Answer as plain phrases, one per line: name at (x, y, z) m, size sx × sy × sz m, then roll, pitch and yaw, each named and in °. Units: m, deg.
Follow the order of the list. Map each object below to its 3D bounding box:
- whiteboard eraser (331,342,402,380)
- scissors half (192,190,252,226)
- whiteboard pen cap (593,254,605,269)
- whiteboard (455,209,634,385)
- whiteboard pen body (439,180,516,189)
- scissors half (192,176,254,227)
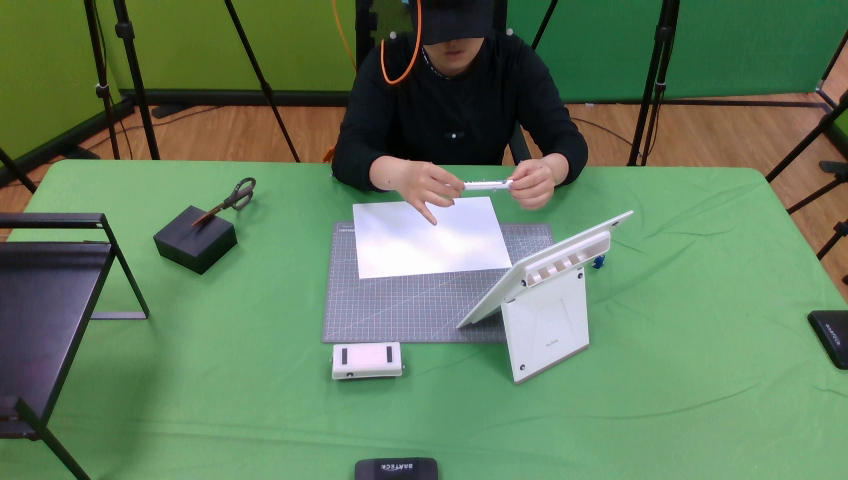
whiteboard eraser at (-0.094, 0.198, 0.986) m, size 0.113 × 0.042 × 0.055 m, roll -2°, pitch 44°, yaw -6°
scissors half at (-0.393, -0.060, 1.187) m, size 0.013 × 0.040 × 0.175 m, roll 25°, pitch 29°, yaw 12°
whiteboard pen cap at (0.341, 0.041, 1.179) m, size 0.018 × 0.033 × 0.018 m, roll 1°, pitch 45°, yaw -1°
whiteboard at (0.211, 0.111, 0.955) m, size 0.217 × 0.306 × 0.143 m, roll -21°, pitch 71°, yaw -23°
whiteboard pen body at (0.096, -0.099, 1.084) m, size 0.141 × 0.017 × 0.017 m, roll -1°, pitch 46°, yaw -9°
scissors half at (-0.388, -0.075, 1.174) m, size 0.013 × 0.040 × 0.174 m, roll 29°, pitch 47°, yaw 8°
